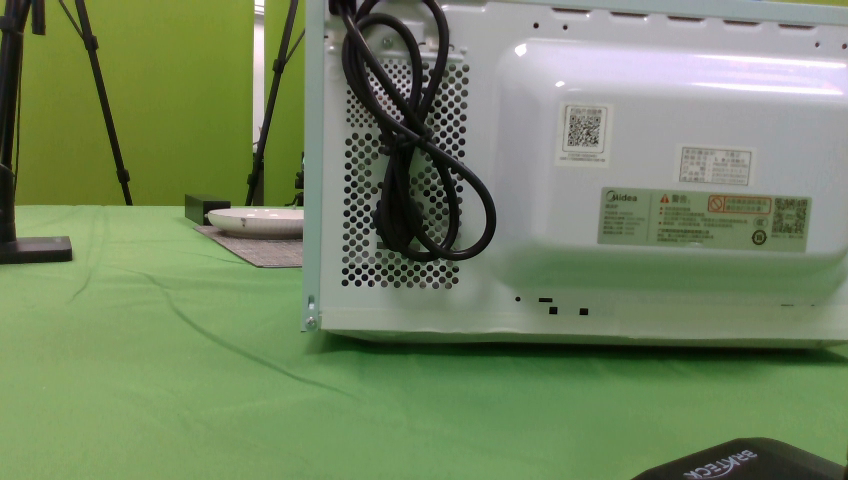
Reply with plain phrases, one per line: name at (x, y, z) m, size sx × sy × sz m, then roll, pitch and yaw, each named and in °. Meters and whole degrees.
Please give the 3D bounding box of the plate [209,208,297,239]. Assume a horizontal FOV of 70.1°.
plate at (-0.271, -0.029, 1.074) m, size 0.208 × 0.039 × 0.207 m, roll 3°, pitch 7°, yaw 0°

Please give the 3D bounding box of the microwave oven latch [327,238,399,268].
microwave oven latch at (-0.069, 0.015, 0.694) m, size 0.079 × 0.029 × 0.030 m, roll 3°, pitch 7°, yaw -3°

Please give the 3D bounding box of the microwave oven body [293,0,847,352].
microwave oven body at (0.122, -0.055, 0.550) m, size 0.442 × 0.260 × 0.325 m, roll 3°, pitch 7°, yaw -5°

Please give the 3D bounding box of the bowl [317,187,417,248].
bowl at (-0.090, -0.033, 0.919) m, size 0.151 × 0.077 × 0.151 m, roll 7°, pitch 9°, yaw -1°

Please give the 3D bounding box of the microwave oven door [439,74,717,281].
microwave oven door at (0.183, -0.089, 0.801) m, size 0.354 × 0.243 × 0.039 m, roll 7°, pitch 9°, yaw 32°
